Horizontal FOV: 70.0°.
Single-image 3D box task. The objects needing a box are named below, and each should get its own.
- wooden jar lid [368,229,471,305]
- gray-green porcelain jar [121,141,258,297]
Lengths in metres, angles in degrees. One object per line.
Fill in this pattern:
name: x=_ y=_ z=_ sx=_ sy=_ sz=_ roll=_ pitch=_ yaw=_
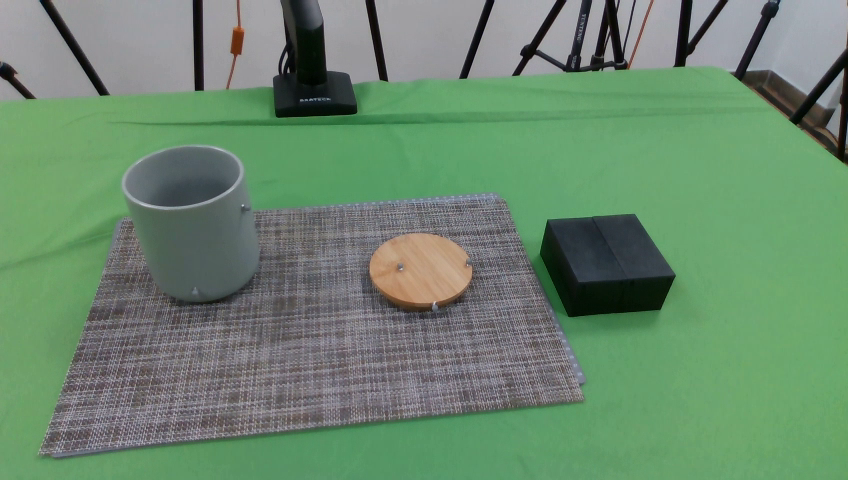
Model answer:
wooden jar lid: x=-0.005 y=0.029 z=0.637 sx=0.108 sy=0.021 sz=0.107 roll=3 pitch=41 yaw=-3
gray-green porcelain jar: x=-0.220 y=-0.016 z=0.589 sx=0.106 sy=0.127 sz=0.105 roll=2 pitch=41 yaw=-2
